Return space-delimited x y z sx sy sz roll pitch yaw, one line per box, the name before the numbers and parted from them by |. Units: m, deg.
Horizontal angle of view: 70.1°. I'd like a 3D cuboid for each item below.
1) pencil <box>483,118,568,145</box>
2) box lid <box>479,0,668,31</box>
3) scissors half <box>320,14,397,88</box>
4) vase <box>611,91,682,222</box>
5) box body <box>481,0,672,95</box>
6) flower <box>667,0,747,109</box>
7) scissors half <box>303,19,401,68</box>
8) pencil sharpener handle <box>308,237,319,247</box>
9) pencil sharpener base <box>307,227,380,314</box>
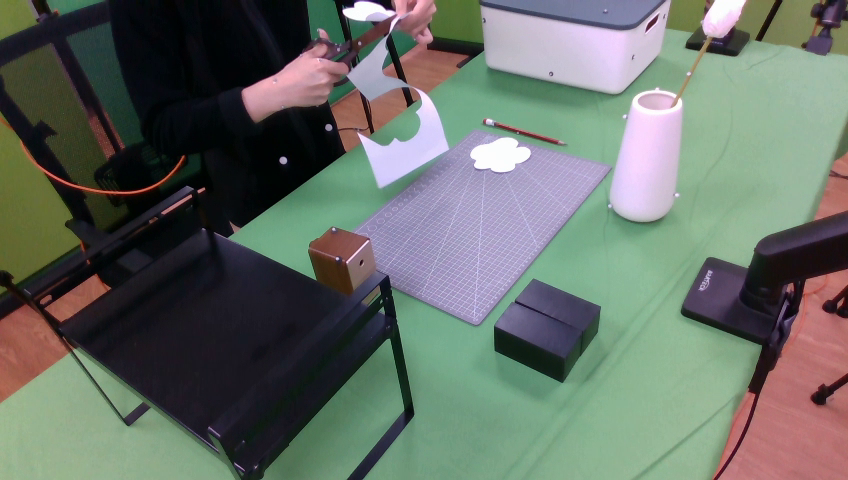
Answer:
pencil | 0.201 -0.217 1.212 0.192 0.012 0.012 24 49 29
box lid | 0.335 -0.536 1.331 0.368 0.015 0.264 23 49 30
scissors half | -0.101 -0.292 0.937 0.174 0.040 0.012 -35 28 36
vase | 0.348 -0.125 0.935 0.098 0.201 0.097 -3 40 3
box body | 0.341 -0.480 1.381 0.361 0.161 0.255 22 48 30
flower | 0.354 -0.187 0.879 0.038 0.362 0.044 31 48 14
scissors half | -0.114 -0.305 0.926 0.174 0.040 0.013 -13 44 21
pencil sharpener handle | -0.159 0.017 0.892 0.030 0.068 0.036 18 61 28
pencil sharpener base | -0.116 0.043 0.875 0.076 0.107 0.061 18 47 27
